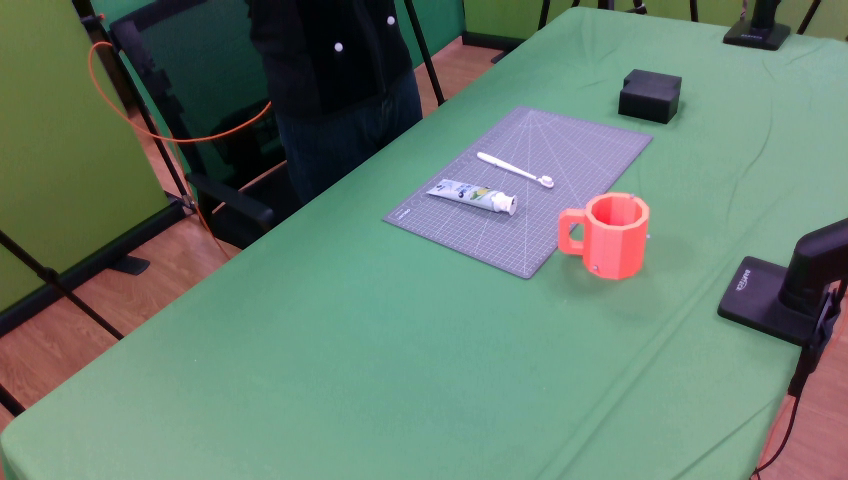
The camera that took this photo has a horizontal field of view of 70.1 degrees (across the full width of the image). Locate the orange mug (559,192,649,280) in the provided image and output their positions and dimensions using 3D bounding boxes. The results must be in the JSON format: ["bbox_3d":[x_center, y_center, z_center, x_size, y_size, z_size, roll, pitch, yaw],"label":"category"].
[{"bbox_3d":[0.261,-0.008,0.884,0.126,0.101,0.083,9,43,14],"label":"orange mug"}]

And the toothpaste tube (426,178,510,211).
[{"bbox_3d":[0.084,-0.081,1.054,0.164,0.034,0.055,18,40,34],"label":"toothpaste tube"}]

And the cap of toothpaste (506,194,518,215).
[{"bbox_3d":[0.146,-0.060,1.007,0.011,0.037,0.037,14,46,22],"label":"cap of toothpaste"}]

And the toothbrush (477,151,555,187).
[{"bbox_3d":[0.164,-0.133,1.107,0.180,0.017,0.014,30,69,39],"label":"toothbrush"}]
